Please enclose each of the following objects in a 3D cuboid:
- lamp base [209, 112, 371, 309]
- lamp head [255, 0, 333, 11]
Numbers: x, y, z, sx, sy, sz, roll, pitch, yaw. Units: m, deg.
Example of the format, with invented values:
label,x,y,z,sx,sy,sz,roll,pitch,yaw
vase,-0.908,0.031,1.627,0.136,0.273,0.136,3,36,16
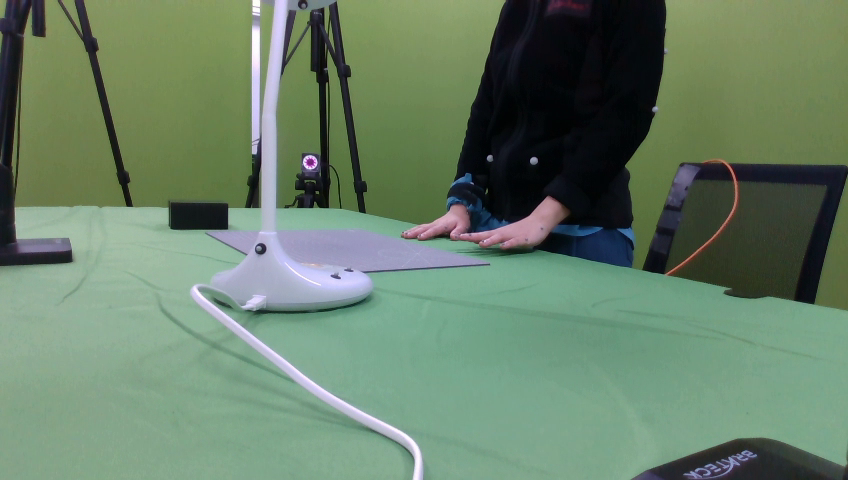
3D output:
label,x,y,z,sx,sy,sz,roll,pitch,yaw
lamp base,-0.133,-0.032,0.594,0.160,0.180,0.179,2,10,3
lamp head,-0.141,-0.318,0.630,0.113,0.112,0.123,1,-32,-10
